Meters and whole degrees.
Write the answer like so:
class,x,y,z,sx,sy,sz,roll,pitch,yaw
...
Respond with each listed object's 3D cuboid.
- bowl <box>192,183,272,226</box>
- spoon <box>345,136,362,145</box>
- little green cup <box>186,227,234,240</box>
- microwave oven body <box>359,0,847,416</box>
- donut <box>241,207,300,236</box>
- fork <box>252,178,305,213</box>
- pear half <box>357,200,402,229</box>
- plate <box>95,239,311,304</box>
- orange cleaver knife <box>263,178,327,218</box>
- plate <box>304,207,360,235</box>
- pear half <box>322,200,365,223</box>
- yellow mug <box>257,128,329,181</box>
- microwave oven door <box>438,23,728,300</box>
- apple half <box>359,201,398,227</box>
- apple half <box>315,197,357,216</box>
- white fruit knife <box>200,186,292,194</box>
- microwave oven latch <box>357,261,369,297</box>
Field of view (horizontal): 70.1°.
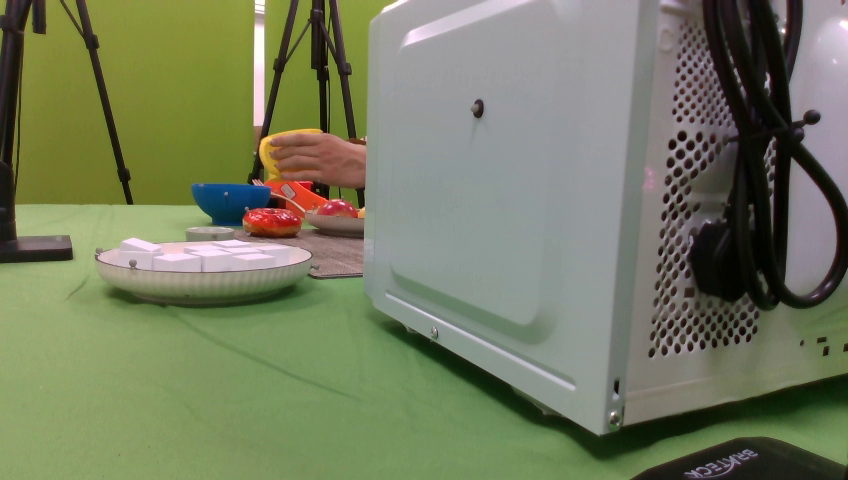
class,x,y,z,sx,sy,sz,roll,pitch,yaw
bowl,-0.381,-0.071,1.202,0.151,0.077,0.151,3,7,0
spoon,-0.120,-0.231,1.343,0.041,0.021,0.194,-2,16,21
little green cup,-0.285,0.005,0.805,0.061,0.038,0.061,2,8,0
microwave oven body,0.211,-0.047,0.474,0.444,0.260,0.324,-1,7,-28
donut,-0.263,-0.031,1.039,0.099,0.048,0.099,5,10,0
fork,-0.295,-0.084,1.292,0.206,0.018,0.028,29,10,25
pear half,-0.075,-0.046,1.132,0.076,0.056,0.110,12,6,31
plate,-0.224,0.031,0.629,0.208,0.039,0.207,2,8,0
orange cleaver knife,-0.262,-0.088,1.353,0.211,0.077,0.012,28,13,-1
plate,-0.123,-0.037,1.149,0.209,0.038,0.209,2,7,0
pear half,-0.157,-0.059,1.197,0.088,0.031,0.070,12,31,-4
yellow mug,-0.215,-0.134,0.958,0.099,0.064,0.131,-10,4,28
microwave oven door,0.181,-0.072,0.621,0.358,0.243,0.039,-2,8,-29
apple half,-0.088,-0.058,1.190,0.081,0.033,0.081,9,29,-5
apple half,-0.162,-0.052,1.121,0.081,0.053,0.074,4,7,-14
white fruit knife,-0.399,-0.111,1.368,0.208,0.016,0.027,-4,-19,-30
microwave oven latch,-0.019,0.033,0.530,0.079,0.029,0.030,-1,7,-26
